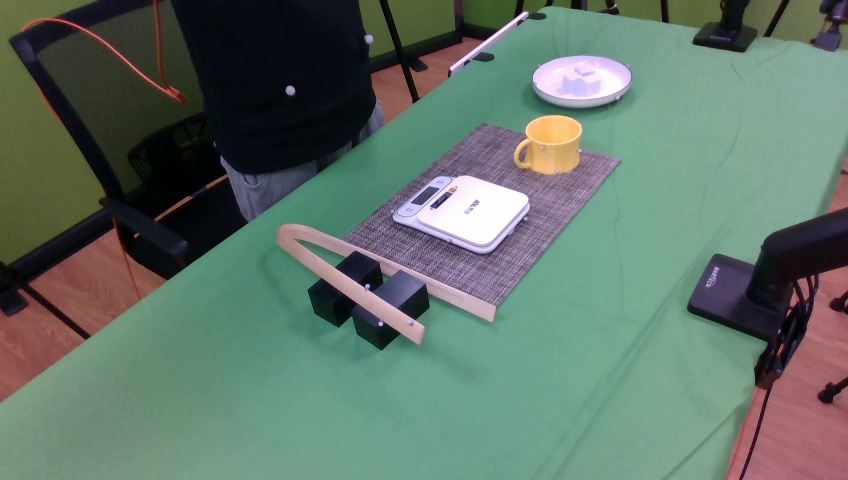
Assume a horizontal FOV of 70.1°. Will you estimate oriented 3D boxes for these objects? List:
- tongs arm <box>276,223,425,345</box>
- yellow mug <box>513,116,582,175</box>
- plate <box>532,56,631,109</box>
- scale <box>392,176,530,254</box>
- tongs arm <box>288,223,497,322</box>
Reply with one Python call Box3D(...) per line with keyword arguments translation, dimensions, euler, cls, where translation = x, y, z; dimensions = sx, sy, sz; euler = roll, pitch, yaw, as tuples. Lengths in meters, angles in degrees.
Box3D(translation=(-0.114, 0.049, 0.857), dimensions=(0.051, 0.026, 0.381), euler=(-7, 24, -44), cls="tongs arm")
Box3D(translation=(0.220, -0.168, 1.094), dimensions=(0.131, 0.064, 0.099), euler=(-21, 42, -15), cls="yellow mug")
Box3D(translation=(0.336, -0.336, 1.301), dimensions=(0.207, 0.039, 0.206), euler=(-4, 41, 4), cls="plate")
Box3D(translation=(0.060, -0.050, 1.006), dimensions=(0.199, 0.032, 0.149), euler=(22, 48, 30), cls="scale")
Box3D(translation=(-0.060, 0.043, 0.918), dimensions=(0.384, 0.028, 0.028), euler=(21, 24, 29), cls="tongs arm")
